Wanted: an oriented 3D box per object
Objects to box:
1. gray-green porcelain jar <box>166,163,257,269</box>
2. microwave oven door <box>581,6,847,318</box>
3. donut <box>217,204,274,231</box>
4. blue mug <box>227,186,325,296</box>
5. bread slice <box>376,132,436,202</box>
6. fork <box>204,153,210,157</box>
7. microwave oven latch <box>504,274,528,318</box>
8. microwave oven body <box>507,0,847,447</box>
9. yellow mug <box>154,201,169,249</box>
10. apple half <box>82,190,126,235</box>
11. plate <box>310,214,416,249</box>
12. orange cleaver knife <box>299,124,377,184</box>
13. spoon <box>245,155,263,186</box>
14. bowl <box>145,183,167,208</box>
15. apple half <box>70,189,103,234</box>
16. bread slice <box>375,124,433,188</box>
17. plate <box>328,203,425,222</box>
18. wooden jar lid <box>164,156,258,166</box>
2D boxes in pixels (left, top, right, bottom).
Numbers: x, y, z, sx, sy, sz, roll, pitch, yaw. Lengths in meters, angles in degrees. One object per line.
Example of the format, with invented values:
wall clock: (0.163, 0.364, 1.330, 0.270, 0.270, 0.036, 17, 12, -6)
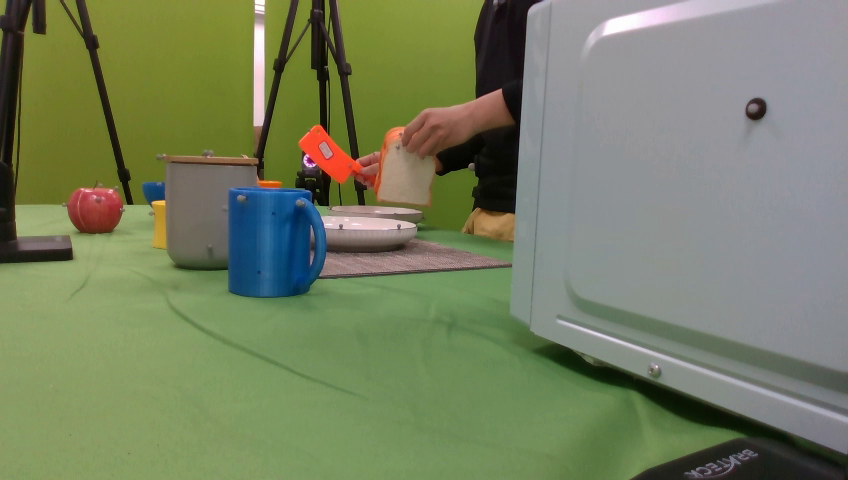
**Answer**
gray-green porcelain jar: (-0.263, -0.031, 0.754, 0.106, 0.126, 0.106, 2, 7, 0)
microwave oven door: (0.295, -0.067, 0.569, 0.358, 0.243, 0.039, -3, 8, -31)
donut: (-0.317, -0.038, 1.080, 0.099, 0.048, 0.099, 3, 7, 0)
blue mug: (-0.146, 0.000, 0.618, 0.116, 0.106, 0.083, 7, 9, 32)
bread slice: (-0.033, -0.136, 1.131, 0.107, 0.134, 0.018, 1, 29, -11)
fork: (-0.480, -0.134, 1.411, 0.028, 0.018, 0.207, 1, -35, 0)
microwave oven latch: (0.100, 0.041, 0.471, 0.079, 0.029, 0.030, -1, 8, -28)
microwave oven body: (0.331, -0.042, 0.425, 0.444, 0.260, 0.324, -2, 8, -31)
yellow mug: (-0.337, -0.022, 0.899, 0.130, 0.064, 0.100, 8, 9, 34)
apple half: (-0.516, -0.046, 0.994, 0.032, 0.081, 0.081, 0, 6, 26)
plate: (-0.116, -0.014, 0.967, 0.208, 0.039, 0.207, 2, 7, 0)
orange cleaver knife: (-0.175, -0.165, 1.284, 0.012, 0.077, 0.212, -2, -30, 47)
spoon: (-0.421, -0.150, 1.540, 0.042, 0.021, 0.193, -5, 55, -37)
bowl: (-0.459, -0.068, 1.175, 0.151, 0.077, 0.151, 2, 7, 0)
apple half: (-0.552, -0.048, 1.009, 0.053, 0.074, 0.081, -1, 9, 26)
bread slice: (-0.035, -0.159, 1.172, 0.105, 0.131, 0.019, 7, 23, -10)
plate: (-0.102, -0.053, 1.299, 0.209, 0.038, 0.209, 2, 8, 0)
wooden jar lid: (-0.261, -0.093, 0.746, 0.108, 0.020, 0.108, 1, 9, 0)
